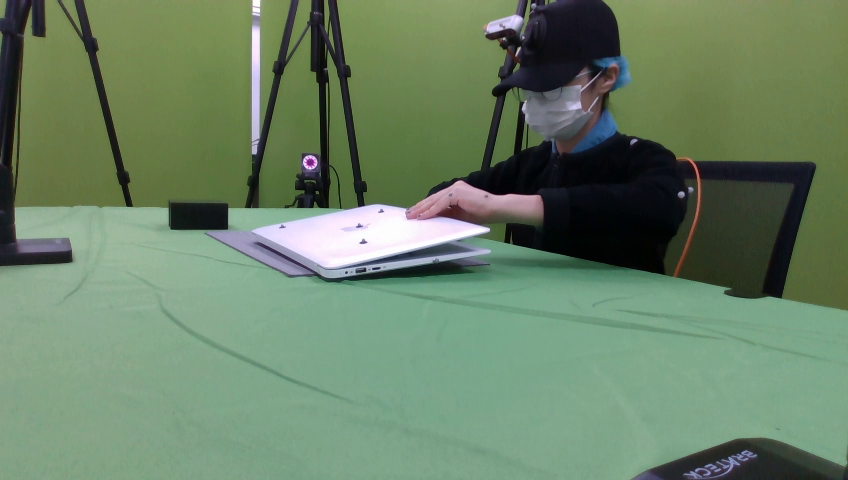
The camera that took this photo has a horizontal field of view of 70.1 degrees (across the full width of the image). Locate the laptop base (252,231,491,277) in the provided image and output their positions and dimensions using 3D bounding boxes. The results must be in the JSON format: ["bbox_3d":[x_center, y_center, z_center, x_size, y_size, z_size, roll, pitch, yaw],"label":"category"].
[{"bbox_3d":[-0.095,0.007,0.887,0.237,0.023,0.352,-5,10,-29],"label":"laptop base"}]

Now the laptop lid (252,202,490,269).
[{"bbox_3d":[-0.095,-0.018,0.883,0.243,0.013,0.355,-14,15,-26],"label":"laptop lid"}]
